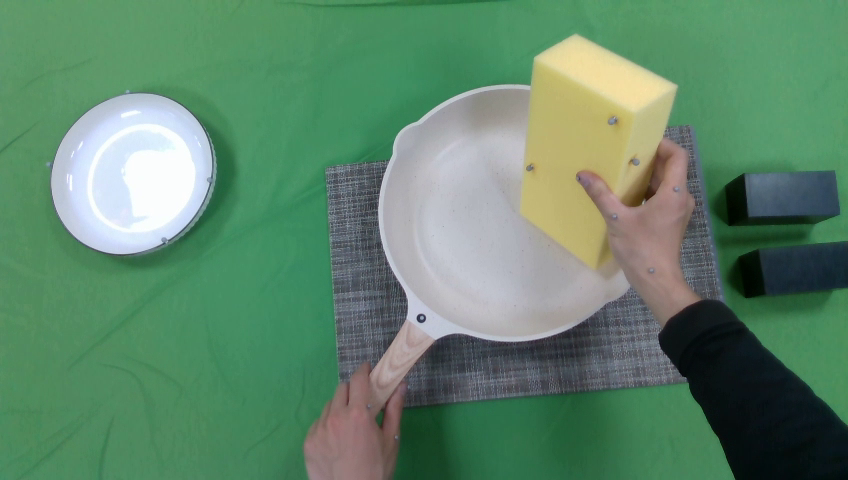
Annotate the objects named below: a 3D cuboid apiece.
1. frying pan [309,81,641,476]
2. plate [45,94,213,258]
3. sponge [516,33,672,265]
[{"bbox_3d":[0.031,0.046,0.671,0.306,0.103,0.487,36,76,10],"label":"frying pan"},{"bbox_3d":[-0.361,-0.078,0.755,0.207,0.039,0.207,-1,80,3],"label":"plate"},{"bbox_3d":[0.163,-0.086,0.621,0.061,0.209,0.117,-34,54,-24],"label":"sponge"}]
